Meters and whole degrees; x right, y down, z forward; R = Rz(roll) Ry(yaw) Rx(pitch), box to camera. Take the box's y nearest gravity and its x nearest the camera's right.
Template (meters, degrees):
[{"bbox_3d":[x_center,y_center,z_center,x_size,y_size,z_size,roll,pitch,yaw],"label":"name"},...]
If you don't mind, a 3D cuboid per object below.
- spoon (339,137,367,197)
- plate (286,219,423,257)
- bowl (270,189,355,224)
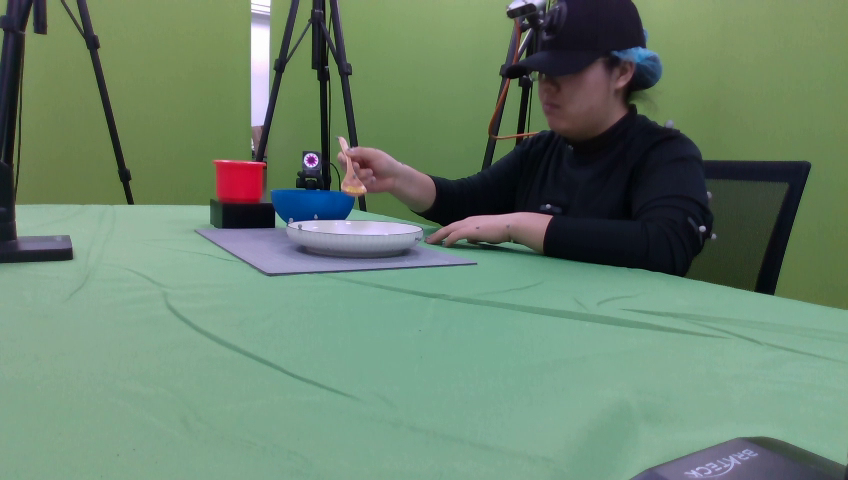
[{"bbox_3d":[-0.127,-0.127,1.022,0.042,0.021,0.193,0,41,-15],"label":"spoon"},{"bbox_3d":[-0.105,-0.004,0.922,0.208,0.039,0.207,3,8,0],"label":"plate"},{"bbox_3d":[-0.199,-0.049,1.080,0.151,0.077,0.151,3,7,0],"label":"bowl"}]
